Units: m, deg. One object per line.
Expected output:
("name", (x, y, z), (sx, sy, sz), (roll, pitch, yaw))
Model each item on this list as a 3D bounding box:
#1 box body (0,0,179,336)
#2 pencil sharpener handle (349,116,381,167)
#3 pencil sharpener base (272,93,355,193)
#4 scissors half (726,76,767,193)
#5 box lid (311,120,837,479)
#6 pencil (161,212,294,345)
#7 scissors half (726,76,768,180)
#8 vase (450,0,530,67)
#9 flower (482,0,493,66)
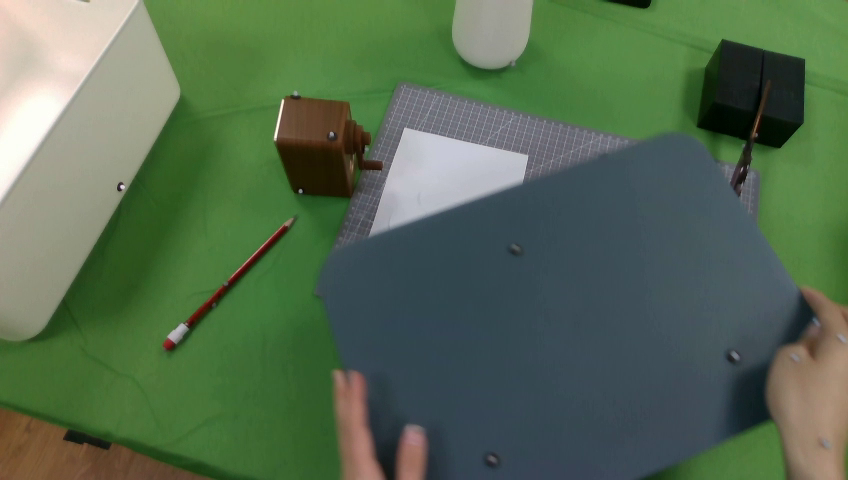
("box body", (-0.453, -0.106, 0.623), (0.254, 0.161, 0.362), (15, 66, 6))
("pencil sharpener handle", (-0.062, -0.102, 0.648), (0.030, 0.068, 0.035), (4, 58, 1))
("pencil sharpener base", (-0.113, -0.102, 0.659), (0.077, 0.108, 0.061), (4, 64, 0))
("scissors half", (0.360, -0.116, 0.672), (0.013, 0.040, 0.174), (20, 67, 18))
("box lid", (0.115, 0.059, 0.494), (0.372, 0.015, 0.261), (-21, 69, -6))
("pencil", (-0.205, 0.036, 0.648), (0.012, 0.012, 0.193), (35, 68, 14))
("scissors half", (0.366, -0.109, 0.691), (0.012, 0.040, 0.175), (19, 84, 23))
("vase", (0.081, -0.298, 0.705), (0.098, 0.201, 0.097), (0, 64, 0))
("flower", (0.079, -0.347, 0.635), (0.044, 0.365, 0.038), (9, 47, 7))
